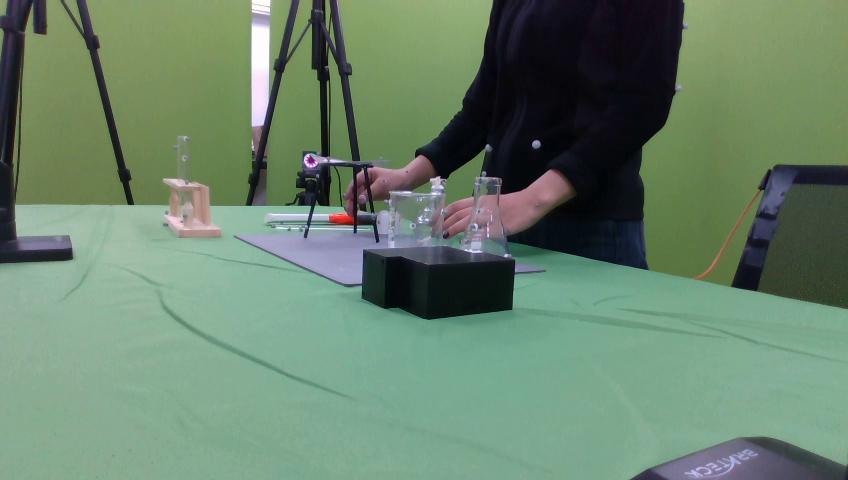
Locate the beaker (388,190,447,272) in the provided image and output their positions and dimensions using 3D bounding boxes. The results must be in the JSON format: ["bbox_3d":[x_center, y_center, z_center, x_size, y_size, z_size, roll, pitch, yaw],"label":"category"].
[{"bbox_3d":[-0.010,-0.013,0.771,0.074,0.100,0.084,3,6,4],"label":"beaker"}]

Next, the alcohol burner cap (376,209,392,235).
[{"bbox_3d":[-0.076,-0.035,1.145,0.034,0.048,0.034,2,7,0],"label":"alcohol burner cap"}]

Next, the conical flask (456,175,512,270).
[{"bbox_3d":[0.082,-0.025,0.801,0.075,0.122,0.075,2,7,0],"label":"conical flask"}]

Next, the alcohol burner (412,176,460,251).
[{"bbox_3d":[0.020,-0.043,0.958,0.078,0.119,0.078,4,9,0],"label":"alcohol burner"}]

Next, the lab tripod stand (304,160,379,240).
[{"bbox_3d":[-0.130,-0.070,1.046,0.148,0.131,0.148,4,7,0],"label":"lab tripod stand"}]

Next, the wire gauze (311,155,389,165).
[{"bbox_3d":[-0.128,-0.137,1.042,0.122,0.011,0.124,1,8,-18],"label":"wire gauze"}]

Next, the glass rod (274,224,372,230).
[{"bbox_3d":[-0.193,-0.024,1.176,0.201,0.008,0.008,1,7,-31],"label":"glass rod"}]

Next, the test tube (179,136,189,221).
[{"bbox_3d":[-0.425,-0.108,1.070,0.017,0.150,0.017,4,9,0],"label":"test tube"}]

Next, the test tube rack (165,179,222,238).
[{"bbox_3d":[-0.423,-0.062,1.098,0.067,0.085,0.241,-2,9,-28],"label":"test tube rack"}]

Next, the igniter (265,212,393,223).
[{"bbox_3d":[-0.196,-0.048,1.285,0.278,0.025,0.057,-2,-3,-30],"label":"igniter"}]
